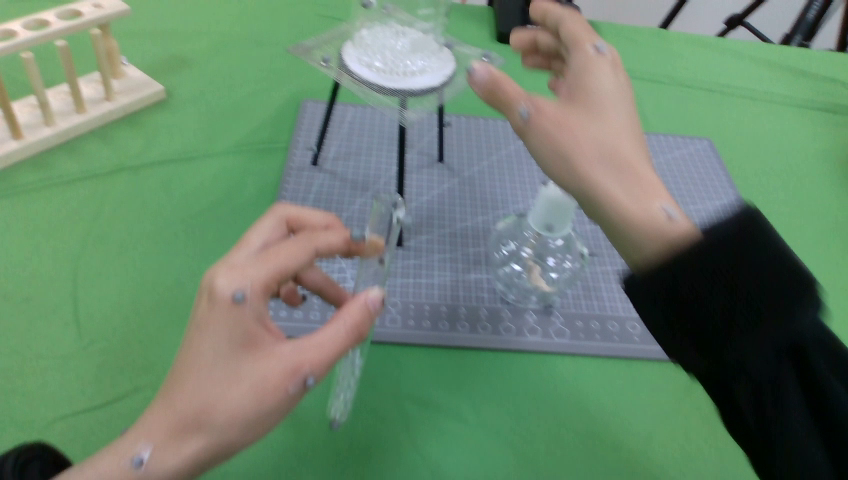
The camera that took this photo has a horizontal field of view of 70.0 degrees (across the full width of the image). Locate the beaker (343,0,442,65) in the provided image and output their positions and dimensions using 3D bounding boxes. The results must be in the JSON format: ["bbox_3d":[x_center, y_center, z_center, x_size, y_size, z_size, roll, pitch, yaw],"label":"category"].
[{"bbox_3d":[-0.023,-0.182,0.424,0.084,0.101,0.073,-32,61,-30],"label":"beaker"}]

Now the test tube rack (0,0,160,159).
[{"bbox_3d":[-0.358,-0.133,0.516,0.066,0.086,0.242,34,51,21],"label":"test tube rack"}]

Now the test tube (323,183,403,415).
[{"bbox_3d":[-0.034,0.038,0.314,0.017,0.151,0.017,12,32,-7],"label":"test tube"}]

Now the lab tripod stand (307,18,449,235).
[{"bbox_3d":[-0.031,-0.100,0.504,0.149,0.132,0.147,6,48,-6],"label":"lab tripod stand"}]

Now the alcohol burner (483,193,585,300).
[{"bbox_3d":[0.087,-0.010,0.455,0.078,0.120,0.077,6,46,-6],"label":"alcohol burner"}]

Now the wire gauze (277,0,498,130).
[{"bbox_3d":[-0.025,-0.144,0.456,0.124,0.011,0.121,37,55,18],"label":"wire gauze"}]

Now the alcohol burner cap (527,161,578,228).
[{"bbox_3d":[0.092,-0.034,0.427,0.034,0.048,0.033,0,54,0],"label":"alcohol burner cap"}]
